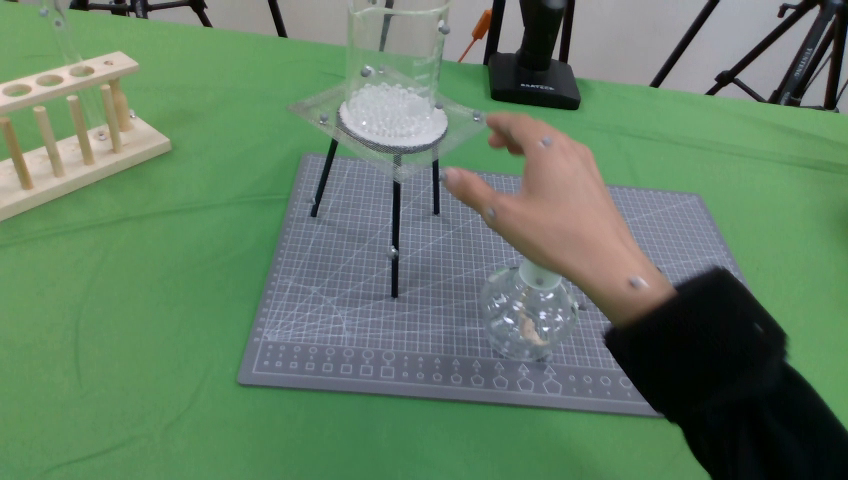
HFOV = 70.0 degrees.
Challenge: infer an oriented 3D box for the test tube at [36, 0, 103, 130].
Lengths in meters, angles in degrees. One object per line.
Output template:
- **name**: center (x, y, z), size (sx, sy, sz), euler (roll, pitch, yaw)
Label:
- **test tube**: center (-0.326, -0.166, 0.557), size (0.017, 0.151, 0.017), euler (3, 45, -2)

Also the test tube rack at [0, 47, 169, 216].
- **test tube rack**: center (-0.361, -0.088, 0.539), size (0.066, 0.086, 0.242), euler (33, 47, 24)

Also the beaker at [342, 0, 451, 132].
- **beaker**: center (-0.026, -0.137, 0.446), size (0.073, 0.101, 0.084), euler (34, 49, 24)

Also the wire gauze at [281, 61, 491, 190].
- **wire gauze**: center (-0.028, -0.100, 0.479), size (0.124, 0.011, 0.121), euler (36, 51, 21)

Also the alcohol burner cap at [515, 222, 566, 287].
- **alcohol burner cap**: center (0.086, 0.009, 0.440), size (0.034, 0.048, 0.033), euler (3, 47, -3)

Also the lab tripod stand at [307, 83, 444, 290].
- **lab tripod stand**: center (-0.034, -0.053, 0.523), size (0.149, 0.132, 0.147), euler (7, 43, -6)

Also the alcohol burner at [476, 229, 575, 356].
- **alcohol burner**: center (0.082, 0.034, 0.466), size (0.078, 0.120, 0.077), euler (7, 42, -6)
